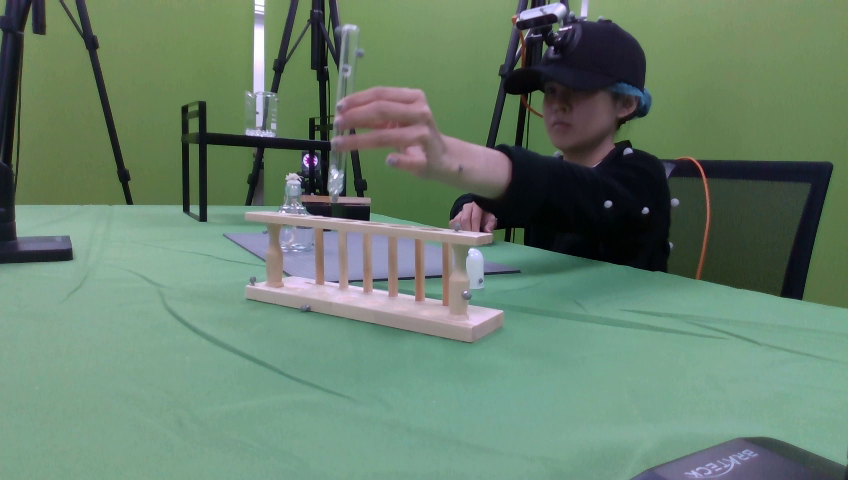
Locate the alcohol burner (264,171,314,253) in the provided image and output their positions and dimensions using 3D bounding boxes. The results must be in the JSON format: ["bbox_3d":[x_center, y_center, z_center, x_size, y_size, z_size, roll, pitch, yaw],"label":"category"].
[{"bbox_3d":[-0.194,-0.042,0.888,0.078,0.119,0.078,3,5,0],"label":"alcohol burner"}]

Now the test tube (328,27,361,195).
[{"bbox_3d":[-0.073,-0.116,0.550,0.017,0.150,0.017,7,8,-1],"label":"test tube"}]

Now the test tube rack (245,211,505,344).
[{"bbox_3d":[-0.049,0.025,0.547,0.241,0.085,0.067,7,8,29],"label":"test tube rack"}]

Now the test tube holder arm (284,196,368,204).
[{"bbox_3d":[-0.195,-0.080,1.221,0.179,0.015,0.013,-1,9,-32],"label":"test tube holder arm"}]

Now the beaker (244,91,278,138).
[{"bbox_3d":[-0.367,-0.280,1.356,0.074,0.100,0.084,4,8,6],"label":"beaker"}]

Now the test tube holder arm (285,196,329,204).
[{"bbox_3d":[-0.231,-0.079,1.192,0.088,0.015,0.010,-1,9,-30],"label":"test tube holder arm"}]

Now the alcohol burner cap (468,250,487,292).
[{"bbox_3d":[0.056,0.035,0.690,0.034,0.048,0.034,2,7,0],"label":"alcohol burner cap"}]
